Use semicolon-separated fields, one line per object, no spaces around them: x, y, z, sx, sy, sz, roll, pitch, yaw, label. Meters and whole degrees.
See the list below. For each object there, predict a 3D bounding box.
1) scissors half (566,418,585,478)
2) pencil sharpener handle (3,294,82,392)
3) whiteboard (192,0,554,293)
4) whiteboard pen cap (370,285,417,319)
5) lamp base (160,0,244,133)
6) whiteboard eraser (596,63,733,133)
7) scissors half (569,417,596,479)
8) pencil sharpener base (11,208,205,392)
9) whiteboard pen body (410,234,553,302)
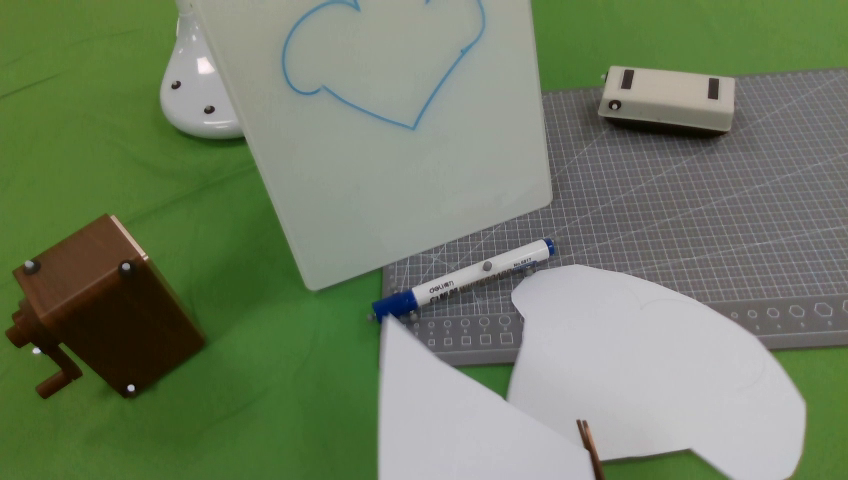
0.092;0.166;0.268;0.013;0.040;0.174;-20;73;16;scissors half
-0.249;0.068;0.385;0.030;0.068;0.035;-38;44;-22;pencil sharpener handle
-0.042;-0.152;0.466;0.217;0.308;0.142;-20;32;-9;whiteboard
-0.022;0.045;0.447;0.033;0.018;0.018;-21;52;-9;whiteboard pen cap
-0.213;-0.222;0.583;0.177;0.182;0.160;31;60;30;lamp base
0.217;-0.128;0.548;0.112;0.042;0.055;11;54;15;whiteboard eraser
0.100;0.167;0.287;0.013;0.040;0.175;-21;89;22;scissors half
-0.213;0.045;0.416;0.076;0.108;0.061;-38;57;-22;pencil sharpener base
0.033;0.025;0.456;0.141;0.017;0.017;-20;52;-8;whiteboard pen body
